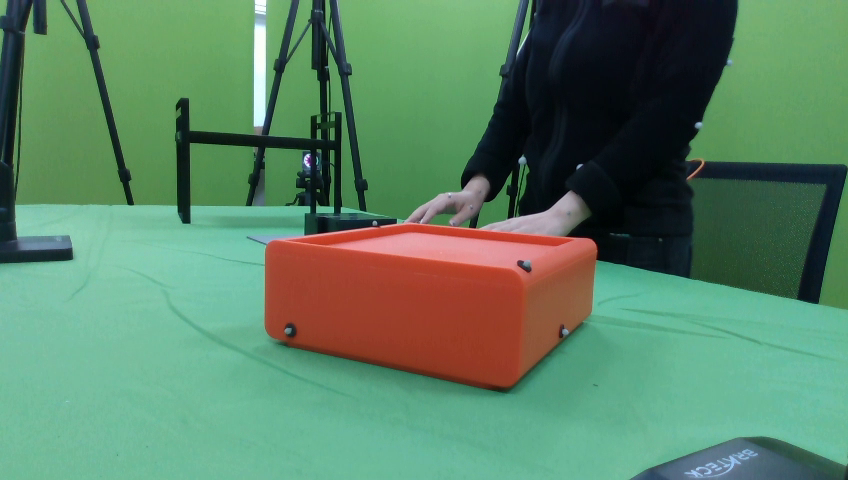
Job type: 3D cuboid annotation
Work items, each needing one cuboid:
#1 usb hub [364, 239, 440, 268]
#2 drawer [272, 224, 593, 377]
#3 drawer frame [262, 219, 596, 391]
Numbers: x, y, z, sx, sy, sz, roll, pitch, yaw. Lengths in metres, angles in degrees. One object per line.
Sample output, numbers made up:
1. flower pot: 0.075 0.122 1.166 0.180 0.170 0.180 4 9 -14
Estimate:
1. usb hub: -0.028 0.017 0.829 0.049 0.025 0.126 5 7 29
2. drawer: 0.018 0.037 0.499 0.194 0.073 0.212 7 9 27
3. drawer frame: 0.017 0.036 0.495 0.201 0.082 0.214 6 9 26
